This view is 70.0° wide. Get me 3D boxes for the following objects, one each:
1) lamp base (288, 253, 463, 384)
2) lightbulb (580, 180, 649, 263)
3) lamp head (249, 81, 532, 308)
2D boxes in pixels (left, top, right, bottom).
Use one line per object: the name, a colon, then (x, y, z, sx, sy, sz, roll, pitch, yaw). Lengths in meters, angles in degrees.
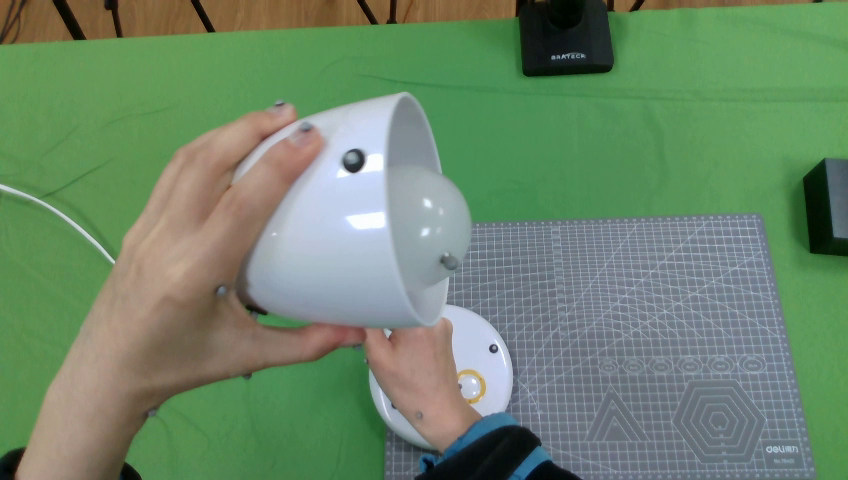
lamp base: (-0.056, 0.055, 0.594, 0.179, 0.181, 0.160, 8, 76, 8)
lightbulb: (0.204, -0.024, 0.667, 0.059, 0.060, 0.106, -23, 60, -2)
lamp head: (-0.026, -0.028, 0.314, 0.124, 0.112, 0.112, 15, 74, -30)
